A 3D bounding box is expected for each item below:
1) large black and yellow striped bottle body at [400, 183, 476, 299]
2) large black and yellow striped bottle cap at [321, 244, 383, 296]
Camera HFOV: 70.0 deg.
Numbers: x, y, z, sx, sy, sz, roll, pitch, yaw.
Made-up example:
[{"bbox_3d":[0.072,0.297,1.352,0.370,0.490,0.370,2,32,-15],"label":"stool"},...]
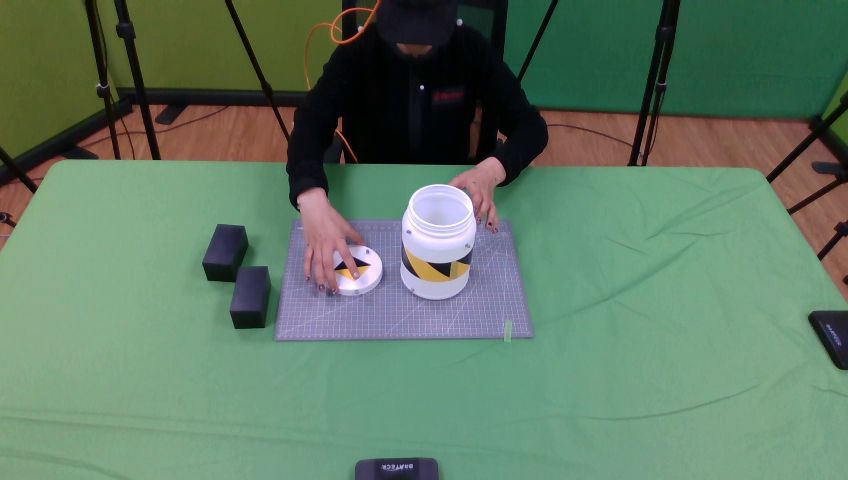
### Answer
[{"bbox_3d":[0.024,0.003,1.079,0.131,0.185,0.130,2,46,-2],"label":"large black and yellow striped bottle body"},{"bbox_3d":[-0.134,0.054,1.136,0.115,0.019,0.114,2,48,-2],"label":"large black and yellow striped bottle cap"}]
